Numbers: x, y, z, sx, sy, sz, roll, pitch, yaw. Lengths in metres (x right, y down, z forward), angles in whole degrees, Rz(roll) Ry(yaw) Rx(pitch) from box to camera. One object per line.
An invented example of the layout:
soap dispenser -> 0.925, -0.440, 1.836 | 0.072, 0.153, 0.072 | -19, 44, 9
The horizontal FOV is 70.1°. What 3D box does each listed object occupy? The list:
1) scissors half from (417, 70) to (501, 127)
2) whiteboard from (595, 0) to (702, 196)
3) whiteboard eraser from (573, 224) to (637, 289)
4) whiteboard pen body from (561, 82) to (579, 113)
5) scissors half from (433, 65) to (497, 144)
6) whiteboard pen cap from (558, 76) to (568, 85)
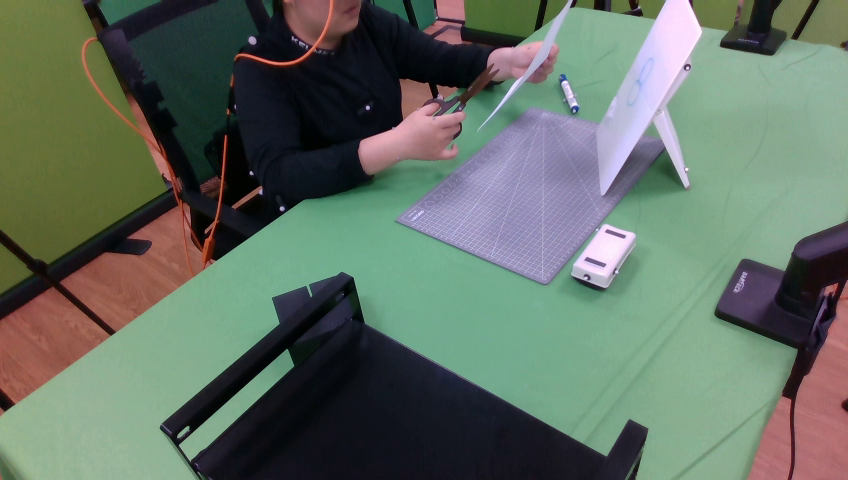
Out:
scissors half -> 0.060, -0.255, 1.078 | 0.174, 0.040, 0.013 | -26, 19, 20
whiteboard -> 0.421, -0.227, 1.010 | 0.144, 0.305, 0.216 | 18, 42, -2
whiteboard eraser -> 0.267, 0.025, 0.891 | 0.055, 0.042, 0.113 | 19, 47, 31
whiteboard pen body -> 0.310, -0.312, 1.298 | 0.017, 0.017, 0.140 | -6, 41, 2
scissors half -> 0.075, -0.240, 1.084 | 0.040, 0.175, 0.013 | 31, 28, -12
whiteboard pen cap -> 0.310, -0.350, 1.340 | 0.018, 0.018, 0.033 | -6, 41, 2
